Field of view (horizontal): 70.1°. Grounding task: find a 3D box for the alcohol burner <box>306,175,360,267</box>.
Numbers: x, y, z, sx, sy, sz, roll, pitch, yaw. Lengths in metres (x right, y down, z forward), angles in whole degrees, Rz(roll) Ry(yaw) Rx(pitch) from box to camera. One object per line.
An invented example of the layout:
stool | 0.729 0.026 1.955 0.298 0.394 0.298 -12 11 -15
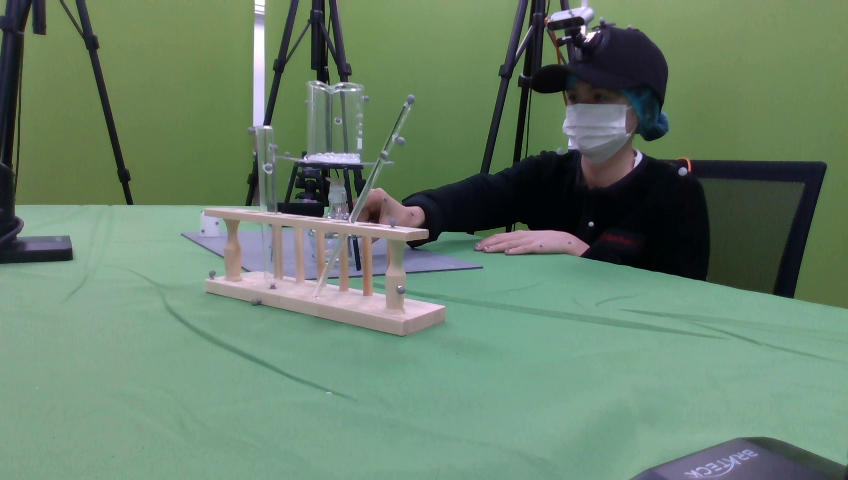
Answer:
alcohol burner | -0.115 -0.025 0.790 0.078 0.119 0.078 1 8 0

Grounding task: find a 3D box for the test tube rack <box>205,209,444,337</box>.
test tube rack | -0.100 0.021 0.565 0.241 0.085 0.067 7 9 32

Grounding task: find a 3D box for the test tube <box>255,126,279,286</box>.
test tube | -0.147 -0.031 0.566 0.017 0.150 0.017 -1 8 0

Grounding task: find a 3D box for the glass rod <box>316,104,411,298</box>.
glass rod | -0.055 -0.026 0.517 0.008 0.199 0.008 23 24 -11

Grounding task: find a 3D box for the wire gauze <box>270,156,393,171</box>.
wire gauze | -0.122 -0.100 0.786 0.122 0.011 0.124 -5 14 -38

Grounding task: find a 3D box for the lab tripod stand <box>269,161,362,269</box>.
lab tripod stand | -0.125 -0.036 0.793 0.148 0.131 0.148 5 7 0

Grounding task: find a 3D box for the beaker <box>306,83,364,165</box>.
beaker | -0.115 -0.147 0.775 0.074 0.100 0.084 2 8 -2

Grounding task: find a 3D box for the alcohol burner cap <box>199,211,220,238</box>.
alcohol burner cap | -0.356 -0.027 1.002 0.034 0.048 0.034 2 7 0
